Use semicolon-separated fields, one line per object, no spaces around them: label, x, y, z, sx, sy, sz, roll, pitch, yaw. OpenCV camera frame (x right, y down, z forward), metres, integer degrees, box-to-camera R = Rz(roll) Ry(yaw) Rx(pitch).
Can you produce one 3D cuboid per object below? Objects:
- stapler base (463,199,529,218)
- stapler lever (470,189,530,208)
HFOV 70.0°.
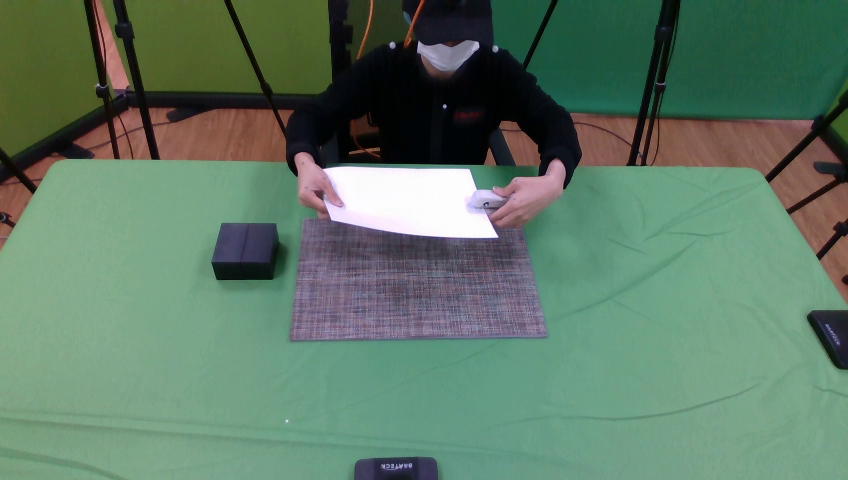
stapler base;0.140;-0.065;1.153;0.131;0.024;0.041;2;46;-19
stapler lever;0.144;-0.078;1.143;0.118;0.040;0.026;-5;48;-12
